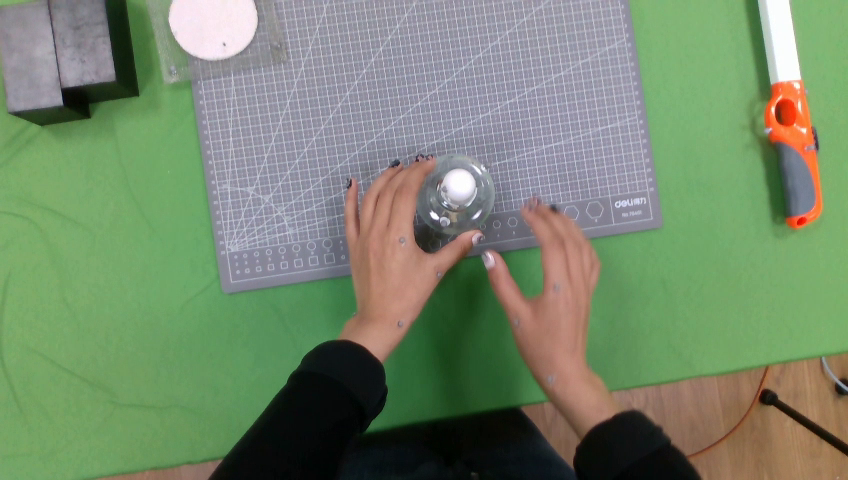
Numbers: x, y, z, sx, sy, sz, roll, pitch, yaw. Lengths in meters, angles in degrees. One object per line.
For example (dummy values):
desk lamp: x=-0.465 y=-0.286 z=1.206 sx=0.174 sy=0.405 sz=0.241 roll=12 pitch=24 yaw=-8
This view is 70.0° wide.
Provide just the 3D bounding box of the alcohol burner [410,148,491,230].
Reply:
alcohol burner: x=0.026 y=-0.049 z=0.559 sx=0.078 sy=0.119 sz=0.078 roll=0 pitch=87 yaw=-4

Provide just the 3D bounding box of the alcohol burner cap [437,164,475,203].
alcohol burner cap: x=0.027 y=-0.050 z=0.523 sx=0.034 sy=0.048 sz=0.034 roll=0 pitch=89 yaw=4

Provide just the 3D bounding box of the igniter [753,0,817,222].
igniter: x=0.369 y=-0.157 z=0.625 sx=0.057 sy=0.025 sz=0.276 roll=-8 pitch=89 yaw=-14

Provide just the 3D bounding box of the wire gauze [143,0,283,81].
wire gauze: x=-0.215 y=-0.227 z=0.600 sx=0.125 sy=0.011 sz=0.121 roll=-14 pitch=89 yaw=-3
